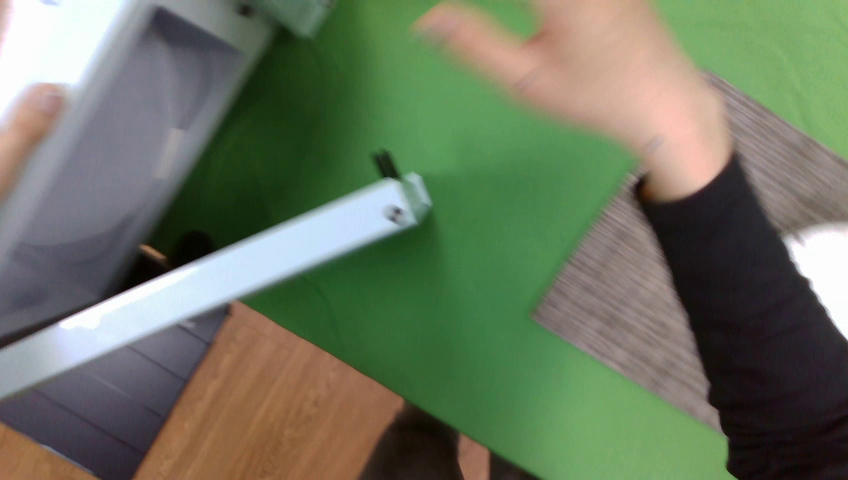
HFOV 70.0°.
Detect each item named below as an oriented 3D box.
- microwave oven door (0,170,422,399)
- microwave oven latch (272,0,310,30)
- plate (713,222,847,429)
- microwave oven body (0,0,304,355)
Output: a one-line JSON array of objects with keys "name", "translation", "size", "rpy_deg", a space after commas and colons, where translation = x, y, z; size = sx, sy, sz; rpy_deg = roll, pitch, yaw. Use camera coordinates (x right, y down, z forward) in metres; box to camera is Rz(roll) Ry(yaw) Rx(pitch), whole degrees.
[{"name": "microwave oven door", "translation": [-0.175, 0.030, 0.499], "size": [0.356, 0.243, 0.039], "rpy_deg": [-24, 95, 4]}, {"name": "microwave oven latch", "translation": [-0.115, -0.238, 0.562], "size": [0.030, 0.029, 0.079], "rpy_deg": [35, 98, -3]}, {"name": "plate", "translation": [0.393, 0.084, 0.606], "size": [0.209, 0.038, 0.209], "rpy_deg": [0, 97, 2]}, {"name": "microwave oven body", "translation": [-0.338, -0.157, 0.482], "size": [0.326, 0.259, 0.442], "rpy_deg": [32, 98, -3]}]
